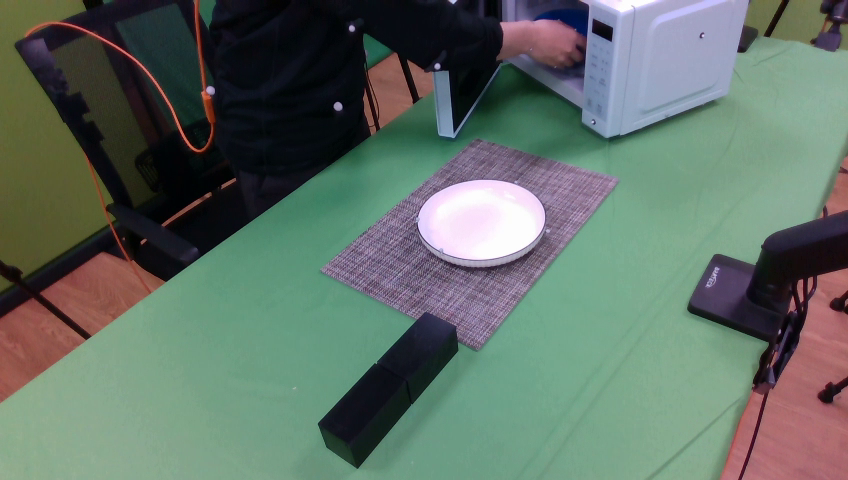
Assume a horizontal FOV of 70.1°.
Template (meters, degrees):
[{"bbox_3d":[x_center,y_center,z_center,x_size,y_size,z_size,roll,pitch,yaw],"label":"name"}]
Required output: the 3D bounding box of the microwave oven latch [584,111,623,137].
[{"bbox_3d":[0.337,-0.222,1.142,0.030,0.029,0.078,-21,42,-14],"label":"microwave oven latch"}]

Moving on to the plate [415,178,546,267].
[{"bbox_3d":[0.091,-0.026,0.970,0.207,0.039,0.206,-4,41,4],"label":"plate"}]

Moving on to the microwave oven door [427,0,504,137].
[{"bbox_3d":[0.095,-0.407,1.235,0.039,0.245,0.356,10,44,20],"label":"microwave oven door"}]

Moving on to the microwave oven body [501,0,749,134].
[{"bbox_3d":[0.382,-0.445,1.246,0.327,0.261,0.437,-22,42,-16],"label":"microwave oven body"}]

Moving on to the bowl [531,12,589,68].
[{"bbox_3d":[0.297,-0.410,1.259,0.151,0.077,0.150,-2,41,3],"label":"bowl"}]
